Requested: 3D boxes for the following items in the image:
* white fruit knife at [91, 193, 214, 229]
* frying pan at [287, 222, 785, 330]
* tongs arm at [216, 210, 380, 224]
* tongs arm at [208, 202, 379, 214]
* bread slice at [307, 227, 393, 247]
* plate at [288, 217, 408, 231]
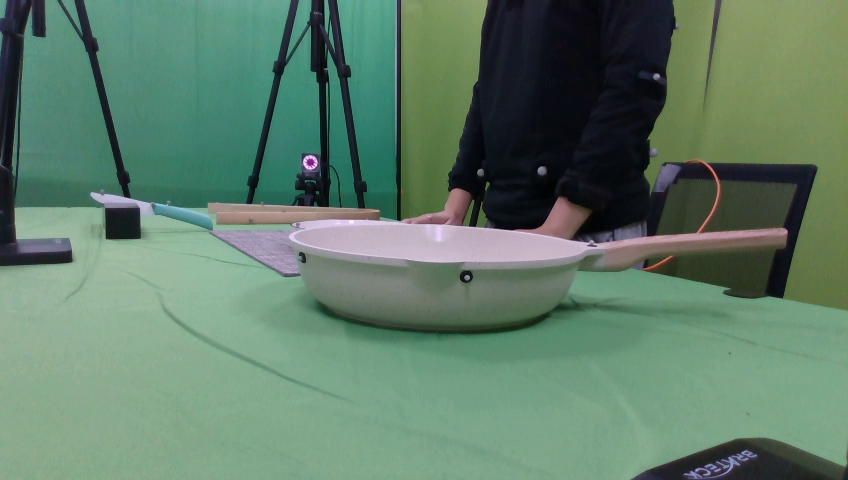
[{"bbox_3d":[-0.478,-0.055,1.077,0.208,0.027,0.016,14,-1,-30],"label":"white fruit knife"},{"bbox_3d":[0.114,0.016,0.606,0.488,0.102,0.307,-6,8,3],"label":"frying pan"},{"bbox_3d":[-0.261,-0.052,1.335,0.390,0.028,0.028,-3,7,-34],"label":"tongs arm"},{"bbox_3d":[-0.296,-0.067,1.406,0.386,0.026,0.050,0,9,-22],"label":"tongs arm"},{"bbox_3d":[-0.115,-0.005,0.950,0.134,0.018,0.107,3,6,-7],"label":"bread slice"},{"bbox_3d":[-0.109,-0.007,0.956,0.208,0.039,0.207,2,7,0],"label":"plate"}]
